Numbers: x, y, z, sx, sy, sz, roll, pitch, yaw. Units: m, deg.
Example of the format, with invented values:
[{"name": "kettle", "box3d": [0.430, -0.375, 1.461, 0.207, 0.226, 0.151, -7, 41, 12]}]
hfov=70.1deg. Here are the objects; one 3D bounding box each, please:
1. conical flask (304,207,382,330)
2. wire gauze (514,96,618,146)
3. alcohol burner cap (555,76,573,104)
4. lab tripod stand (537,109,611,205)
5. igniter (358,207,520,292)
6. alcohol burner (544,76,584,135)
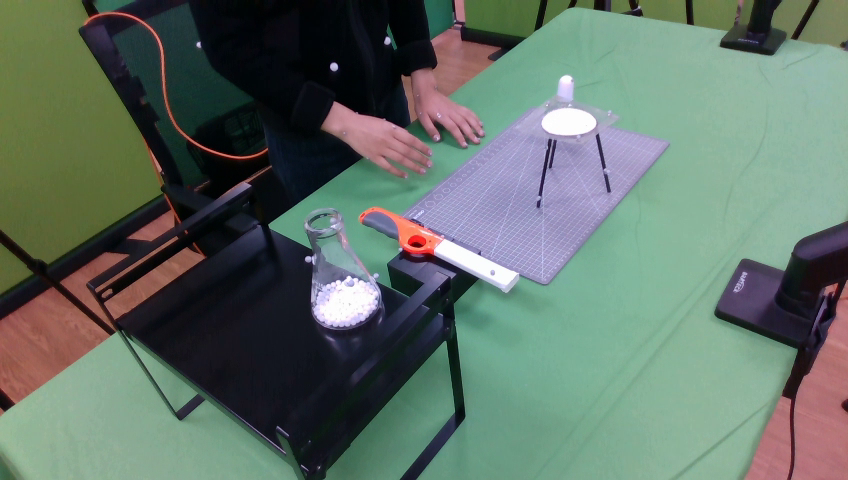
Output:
[{"name": "conical flask", "box3d": [-0.088, 0.025, 0.601, 0.075, 0.122, 0.075, -5, 40, 5]}, {"name": "wire gauze", "box3d": [0.229, -0.190, 0.969, 0.120, 0.011, 0.125, 26, 50, 33]}, {"name": "alcohol burner cap", "box3d": [0.266, -0.284, 1.139, 0.034, 0.048, 0.033, 0, 35, 1]}, {"name": "lab tripod stand", "box3d": [0.244, -0.141, 1.014, 0.148, 0.132, 0.147, -3, 39, 3]}, {"name": "igniter", "box3d": [0.014, 0.008, 0.886, 0.274, 0.025, 0.057, 25, 52, 29]}, {"name": "alcohol burner", "box3d": [0.269, -0.256, 1.161, 0.078, 0.119, 0.077, -5, 38, 4]}]
